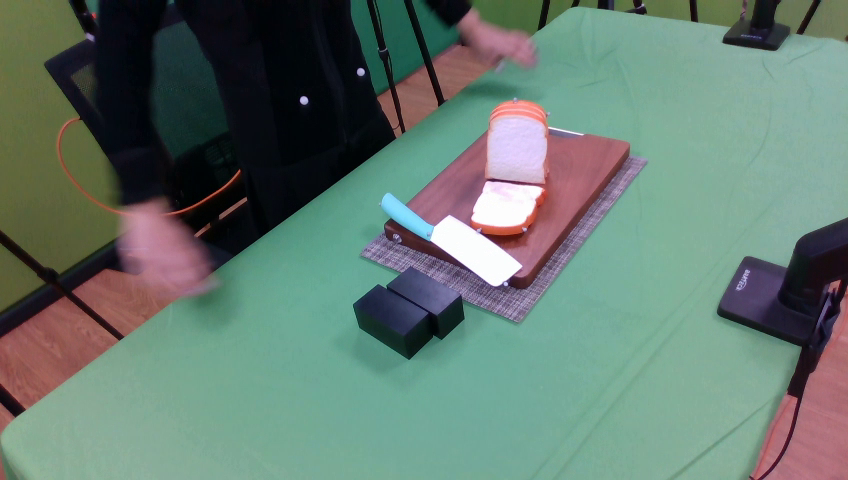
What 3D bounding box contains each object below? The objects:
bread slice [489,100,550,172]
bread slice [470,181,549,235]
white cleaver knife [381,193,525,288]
[{"bbox_3d":[0.164,-0.176,1.032,0.104,0.132,0.019,4,37,13],"label":"bread slice"},{"bbox_3d":[0.131,-0.054,0.975,0.106,0.018,0.134,9,39,24],"label":"bread slice"},{"bbox_3d":[0.036,-0.009,0.950,0.066,0.021,0.284,-37,53,-25],"label":"white cleaver knife"}]
